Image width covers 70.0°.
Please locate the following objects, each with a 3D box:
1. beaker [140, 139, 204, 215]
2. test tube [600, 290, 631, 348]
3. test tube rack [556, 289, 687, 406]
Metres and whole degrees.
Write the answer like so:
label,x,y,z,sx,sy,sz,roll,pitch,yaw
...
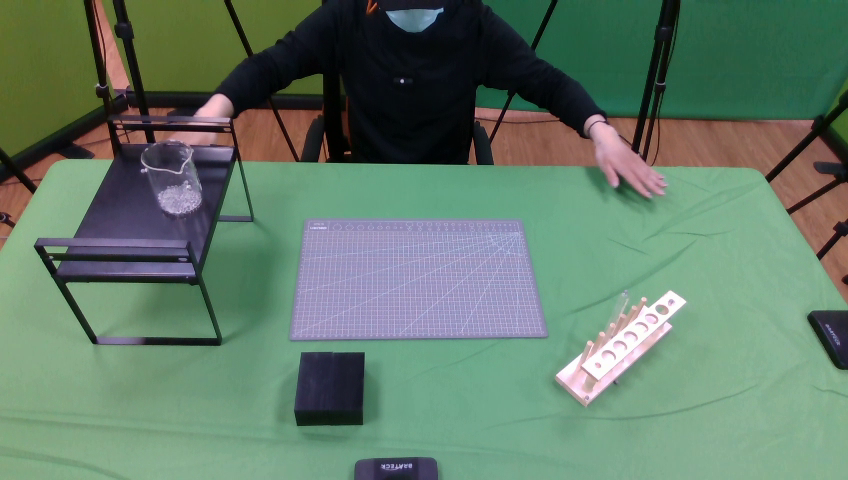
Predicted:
label,x,y,z,sx,sy,sz,roll,pitch,yaw
beaker,-0.391,-0.095,0.954,0.074,0.101,0.083,-30,56,-27
test tube,0.308,0.131,0.983,0.017,0.151,0.017,1,48,-1
test tube rack,0.332,0.165,1.014,0.242,0.085,0.066,-30,55,-28
